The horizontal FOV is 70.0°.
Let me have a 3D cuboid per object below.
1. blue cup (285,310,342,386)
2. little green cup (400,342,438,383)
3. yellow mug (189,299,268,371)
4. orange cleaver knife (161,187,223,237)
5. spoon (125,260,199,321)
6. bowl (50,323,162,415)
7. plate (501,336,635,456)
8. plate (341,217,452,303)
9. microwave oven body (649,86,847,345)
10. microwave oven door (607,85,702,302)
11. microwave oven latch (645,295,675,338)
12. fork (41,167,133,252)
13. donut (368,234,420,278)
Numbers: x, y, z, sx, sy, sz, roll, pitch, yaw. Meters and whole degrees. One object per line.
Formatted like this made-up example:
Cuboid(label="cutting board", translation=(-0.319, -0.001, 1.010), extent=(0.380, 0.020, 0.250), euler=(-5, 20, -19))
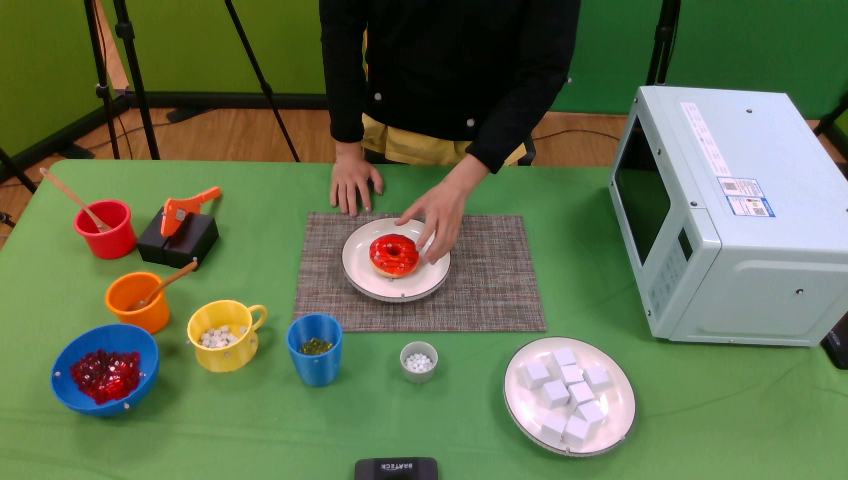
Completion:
Cuboid(label="blue cup", translation=(-0.170, 0.179, 0.958), extent=(0.093, 0.101, 0.092), euler=(2, 45, -1))
Cuboid(label="little green cup", translation=(-0.010, 0.202, 0.991), extent=(0.061, 0.039, 0.061), euler=(2, 47, -2))
Cuboid(label="yellow mug", translation=(-0.316, 0.148, 1.002), extent=(0.131, 0.064, 0.099), euler=(-32, 56, -31))
Cuboid(label="orange cleaver knife", translation=(-0.448, -0.058, 1.181), extent=(0.012, 0.077, 0.211), euler=(13, 17, 6))
Cuboid(label="spoon", translation=(-0.434, 0.083, 0.999), extent=(0.022, 0.194, 0.041), euler=(34, 34, -35))
Cuboid(label="bowl", translation=(-0.472, 0.209, 0.924), extent=(0.151, 0.077, 0.150), euler=(3, 45, -2))
Cuboid(label="plate", translation=(0.225, 0.248, 0.963), extent=(0.208, 0.039, 0.206), euler=(2, 46, -2))
Cuboid(label="plate", translation=(-0.052, 0.039, 1.140), extent=(0.209, 0.038, 0.208), euler=(2, 46, -2))
Cuboid(label="microwave oven body", translation=(0.568, -0.053, 1.118), extent=(0.326, 0.261, 0.439), euler=(2, 45, -1))
Cuboid(label="microwave oven door", translation=(0.423, -0.094, 1.141), extent=(0.039, 0.245, 0.353), euler=(2, 46, -1))
Cuboid(label="microwave oven latch", translation=(0.411, 0.134, 1.061), extent=(0.030, 0.029, 0.078), euler=(3, 45, 0))
Cuboid(label="fork", translation=(-0.624, -0.056, 1.121), extent=(0.208, 0.018, 0.028), euler=(49, 51, -15))
Cuboid(label="donut", translation=(-0.057, 0.030, 1.133), extent=(0.099, 0.048, 0.098), euler=(4, 46, -4))
